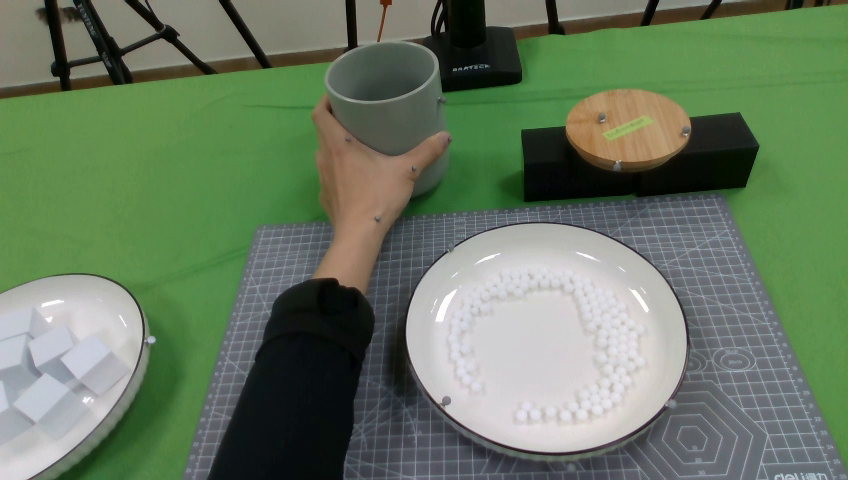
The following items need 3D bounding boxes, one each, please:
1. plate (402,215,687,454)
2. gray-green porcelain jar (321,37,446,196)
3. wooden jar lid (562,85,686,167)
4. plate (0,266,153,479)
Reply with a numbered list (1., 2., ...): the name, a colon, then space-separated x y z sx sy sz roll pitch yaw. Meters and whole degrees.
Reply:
1. plate: 0.088 0.066 0.464 0.209 0.038 0.207 -5 47 5
2. gray-green porcelain jar: -0.034 -0.115 0.594 0.106 0.128 0.105 -5 47 5
3. wooden jar lid: 0.181 -0.104 0.554 0.108 0.021 0.107 -4 48 5
4. plate: -0.320 0.112 0.492 0.207 0.039 0.205 -4 47 5
